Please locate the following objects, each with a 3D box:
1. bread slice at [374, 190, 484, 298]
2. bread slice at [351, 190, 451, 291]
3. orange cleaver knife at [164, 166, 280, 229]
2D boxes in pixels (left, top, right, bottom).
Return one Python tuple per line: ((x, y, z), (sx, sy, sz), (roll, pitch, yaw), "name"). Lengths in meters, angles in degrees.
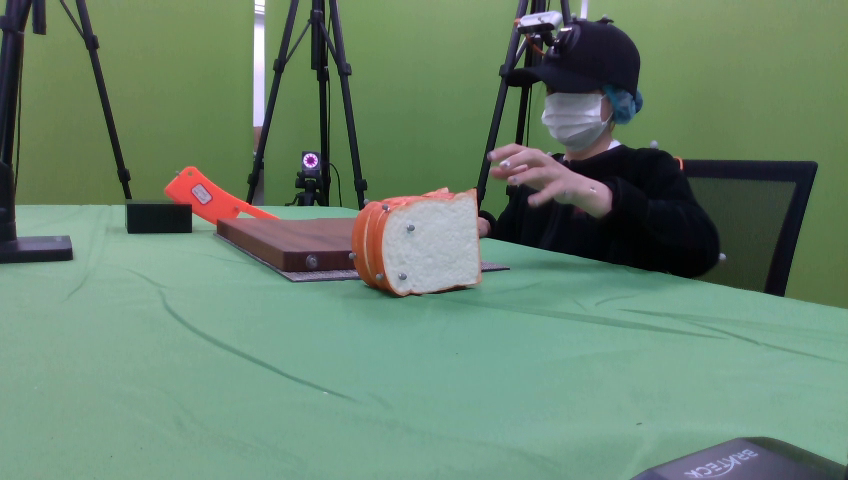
((0.008, 0.009, 0.639), (0.135, 0.107, 0.018), (-13, 9, -36), "bread slice")
((-0.022, 0.001, 0.679), (0.132, 0.105, 0.019), (-10, 10, -33), "bread slice")
((-0.370, -0.061, 1.121), (0.212, 0.077, 0.012), (31, -9, -29), "orange cleaver knife")
